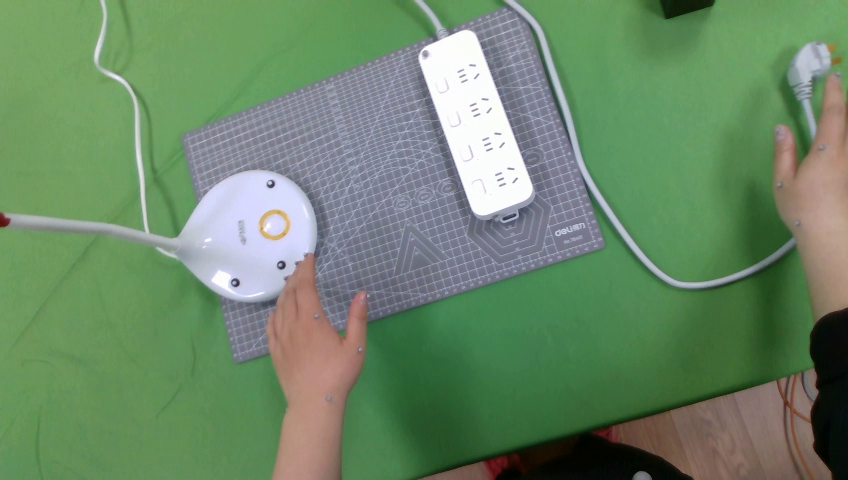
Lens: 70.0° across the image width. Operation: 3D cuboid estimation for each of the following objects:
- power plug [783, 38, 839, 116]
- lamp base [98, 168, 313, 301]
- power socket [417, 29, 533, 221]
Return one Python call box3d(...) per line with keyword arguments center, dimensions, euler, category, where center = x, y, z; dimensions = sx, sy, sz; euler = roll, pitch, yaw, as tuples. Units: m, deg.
box3d(center=(0.391, -0.165, 0.610), dimensions=(0.053, 0.035, 0.073), euler=(-14, 102, -1), category="power plug")
box3d(center=(-0.235, -0.012, 0.649), dimensions=(0.179, 0.181, 0.160), euler=(-24, 78, 12), category="lamp base")
box3d(center=(0.055, -0.130, 0.673), dimensions=(0.072, 0.033, 0.225), euler=(-20, 79, 9), category="power socket")
